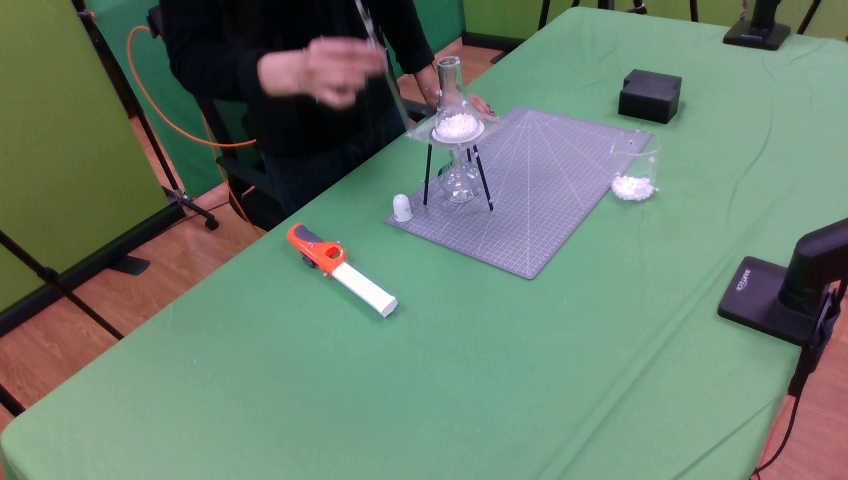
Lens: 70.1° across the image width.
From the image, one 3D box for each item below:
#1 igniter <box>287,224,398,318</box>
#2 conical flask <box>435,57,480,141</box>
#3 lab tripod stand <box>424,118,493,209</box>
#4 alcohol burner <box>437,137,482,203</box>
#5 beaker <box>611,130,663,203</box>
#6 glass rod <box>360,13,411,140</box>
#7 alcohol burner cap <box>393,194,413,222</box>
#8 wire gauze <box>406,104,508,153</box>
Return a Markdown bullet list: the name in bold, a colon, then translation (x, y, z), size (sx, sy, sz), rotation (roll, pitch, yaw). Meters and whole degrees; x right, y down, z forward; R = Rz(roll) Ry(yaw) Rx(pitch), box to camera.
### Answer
- **igniter**: translation (-0.139, 0.042, 0.958), size (0.057, 0.025, 0.274), rotation (-42, 49, -19)
- **conical flask**: translation (0.046, -0.225, 0.955), size (0.075, 0.122, 0.075), rotation (-7, 39, 6)
- **lab tripod stand**: translation (0.061, -0.133, 1.039), size (0.148, 0.132, 0.147), rotation (-6, 39, 6)
- **alcohol burner**: translation (0.060, -0.125, 1.045), size (0.078, 0.119, 0.077), rotation (-5, 39, 4)
- **beaker**: translation (0.346, -0.118, 0.998), size (0.084, 0.101, 0.073), rotation (-17, 40, -7)
- **glass rod**: translation (-0.049, -0.214, 0.818), size (0.008, 0.201, 0.008), rotation (-11, 46, 12)
- **alcohol burner cap**: translation (-0.039, -0.057, 1.039), size (0.034, 0.048, 0.033), rotation (-6, 40, 5)
- **wire gauze**: translation (0.054, -0.183, 0.997), size (0.120, 0.011, 0.125), rotation (25, 53, 38)
